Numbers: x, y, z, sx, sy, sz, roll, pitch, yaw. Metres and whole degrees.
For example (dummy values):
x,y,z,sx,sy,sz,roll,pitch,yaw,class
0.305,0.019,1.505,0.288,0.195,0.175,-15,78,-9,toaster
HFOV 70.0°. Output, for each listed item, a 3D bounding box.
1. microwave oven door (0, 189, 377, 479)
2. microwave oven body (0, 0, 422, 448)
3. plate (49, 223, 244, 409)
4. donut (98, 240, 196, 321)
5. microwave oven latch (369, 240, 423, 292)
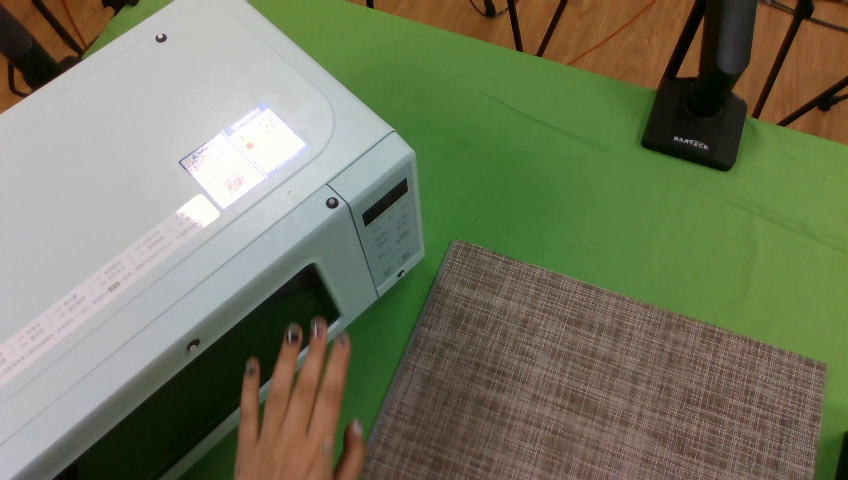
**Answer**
x,y,z,sx,sy,sz,roll,pitch,yaw,class
-0.199,0.122,0.569,0.355,0.245,0.039,-42,70,-15,microwave oven door
-0.270,0.002,0.630,0.441,0.262,0.324,-42,72,-15,microwave oven body
-0.286,0.078,0.640,0.209,0.038,0.207,-5,59,8,plate
-0.302,0.044,0.663,0.099,0.048,0.098,6,54,-7,donut
-0.036,0.024,0.719,0.079,0.030,0.030,-41,71,-14,microwave oven latch
